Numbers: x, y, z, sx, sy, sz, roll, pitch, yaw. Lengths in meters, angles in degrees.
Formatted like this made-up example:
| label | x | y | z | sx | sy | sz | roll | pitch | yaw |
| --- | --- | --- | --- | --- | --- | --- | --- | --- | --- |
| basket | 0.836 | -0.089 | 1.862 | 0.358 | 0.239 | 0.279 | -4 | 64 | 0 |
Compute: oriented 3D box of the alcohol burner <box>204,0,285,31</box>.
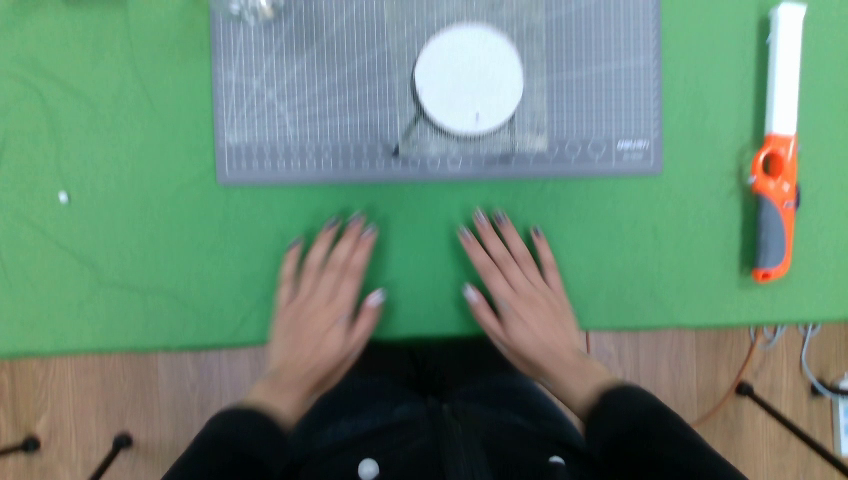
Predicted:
| label | x | y | z | sx | sy | sz | roll | pitch | yaw |
| --- | --- | --- | --- | --- | --- | --- | --- | --- | --- |
| alcohol burner | -0.166 | -0.235 | 0.545 | 0.078 | 0.119 | 0.078 | 0 | 89 | -2 |

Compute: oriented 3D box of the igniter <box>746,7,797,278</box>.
| label | x | y | z | sx | sy | sz | roll | pitch | yaw |
| --- | --- | --- | --- | --- | --- | --- | --- | --- | --- |
| igniter | 0.360 | -0.098 | 0.624 | 0.057 | 0.025 | 0.276 | 2 | 91 | -13 |

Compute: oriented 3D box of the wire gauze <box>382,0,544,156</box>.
| label | x | y | z | sx | sy | sz | roll | pitch | yaw |
| --- | --- | --- | --- | --- | --- | --- | --- | --- | --- |
| wire gauze | 0.032 | -0.129 | 0.482 | 0.125 | 0.011 | 0.121 | -4 | 90 | -4 |

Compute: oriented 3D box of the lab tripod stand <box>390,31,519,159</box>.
| label | x | y | z | sx | sy | sz | roll | pitch | yaw |
| --- | --- | --- | --- | --- | --- | --- | --- | --- | --- |
| lab tripod stand | 0.027 | -0.127 | 0.549 | 0.148 | 0.131 | 0.148 | 0 | 90 | -1 |
